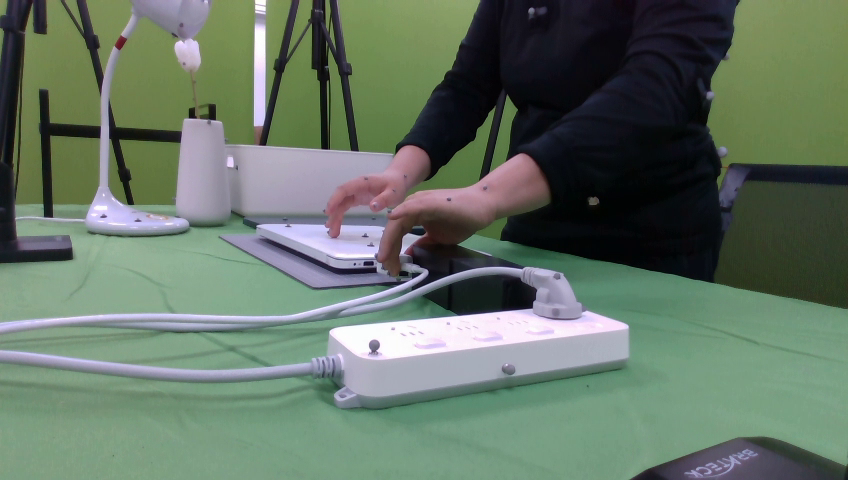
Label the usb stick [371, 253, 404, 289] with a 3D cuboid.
[{"bbox_3d":[-0.043,0.032,0.673,0.021,0.027,0.059,12,15,-25],"label":"usb stick"}]

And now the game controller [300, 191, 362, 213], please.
[{"bbox_3d":[-0.241,-0.098,1.550,0.155,0.051,0.097,2,8,5],"label":"game controller"}]

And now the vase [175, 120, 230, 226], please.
[{"bbox_3d":[-0.425,-0.128,1.159,0.098,0.200,0.098,2,9,0],"label":"vase"}]

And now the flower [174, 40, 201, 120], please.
[{"bbox_3d":[-0.430,-0.211,1.165,0.044,0.361,0.038,-10,-5,-22],"label":"flower"}]

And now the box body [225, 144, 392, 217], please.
[{"bbox_3d":[-0.289,-0.143,1.474,0.366,0.160,0.253,-1,9,-29],"label":"box body"}]

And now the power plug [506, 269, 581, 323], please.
[{"bbox_3d":[0.092,0.051,0.469,0.035,0.052,0.072,0,7,-16],"label":"power plug"}]

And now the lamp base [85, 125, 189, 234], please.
[{"bbox_3d":[-0.498,-0.105,1.026,0.179,0.180,0.160,1,7,3],"label":"lamp base"}]

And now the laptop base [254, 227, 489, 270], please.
[{"bbox_3d":[-0.096,0.011,0.911,0.237,0.023,0.352,2,6,-32],"label":"laptop base"}]

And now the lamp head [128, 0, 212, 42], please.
[{"bbox_3d":[-0.424,-0.395,0.980,0.123,0.112,0.112,21,7,-3],"label":"lamp head"}]

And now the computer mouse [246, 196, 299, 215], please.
[{"bbox_3d":[-0.355,-0.082,1.417,0.117,0.041,0.063,1,9,7],"label":"computer mouse"}]

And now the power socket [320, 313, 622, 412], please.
[{"bbox_3d":[0.038,0.076,0.410,0.228,0.032,0.072,-1,7,-28],"label":"power socket"}]

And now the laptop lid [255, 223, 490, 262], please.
[{"bbox_3d":[-0.093,0.000,0.911,0.243,0.013,0.355,1,7,-30],"label":"laptop lid"}]

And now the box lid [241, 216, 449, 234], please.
[{"bbox_3d":[-0.162,-0.030,1.233,0.373,0.015,0.262,-1,7,-32],"label":"box lid"}]
